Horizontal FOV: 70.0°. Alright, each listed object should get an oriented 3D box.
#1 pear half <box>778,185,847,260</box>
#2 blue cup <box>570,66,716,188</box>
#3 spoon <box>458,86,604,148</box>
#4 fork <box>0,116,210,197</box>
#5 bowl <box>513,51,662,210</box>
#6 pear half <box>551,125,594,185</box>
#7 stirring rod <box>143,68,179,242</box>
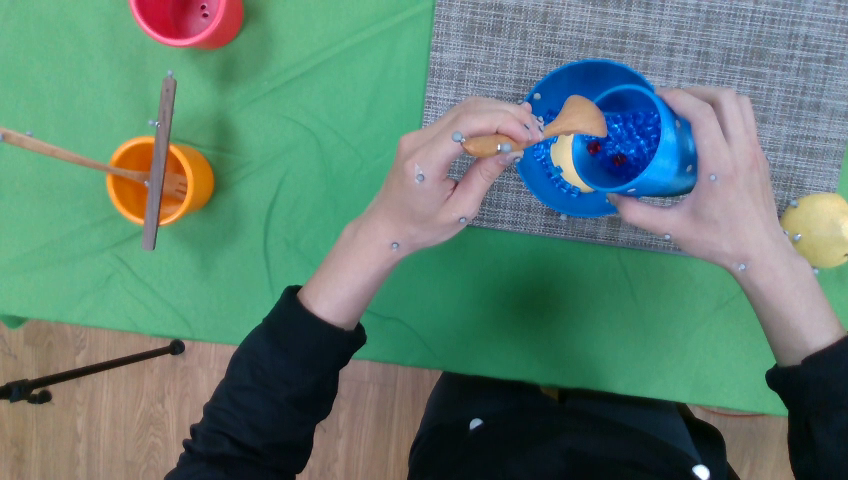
[{"bbox_3d":[0.395,-0.015,0.605,0.056,0.109,0.076,-11,95,6],"label":"pear half"},{"bbox_3d":[0.187,-0.081,0.499,0.101,0.092,0.093,4,102,-36],"label":"blue cup"},{"bbox_3d":[0.078,-0.079,0.406,0.041,0.194,0.021,56,133,8],"label":"spoon"},{"bbox_3d":[-0.317,-0.083,0.611,0.209,0.018,0.028,18,113,-44],"label":"fork"},{"bbox_3d":[0.162,-0.109,0.615,0.151,0.076,0.152,0,100,3],"label":"bowl"},{"bbox_3d":[0.165,-0.101,0.609,0.070,0.031,0.088,-18,93,2],"label":"pear half"},{"bbox_3d":[-0.264,-0.083,0.607,0.014,0.006,0.176,12,101,-2],"label":"stirring rod"}]
